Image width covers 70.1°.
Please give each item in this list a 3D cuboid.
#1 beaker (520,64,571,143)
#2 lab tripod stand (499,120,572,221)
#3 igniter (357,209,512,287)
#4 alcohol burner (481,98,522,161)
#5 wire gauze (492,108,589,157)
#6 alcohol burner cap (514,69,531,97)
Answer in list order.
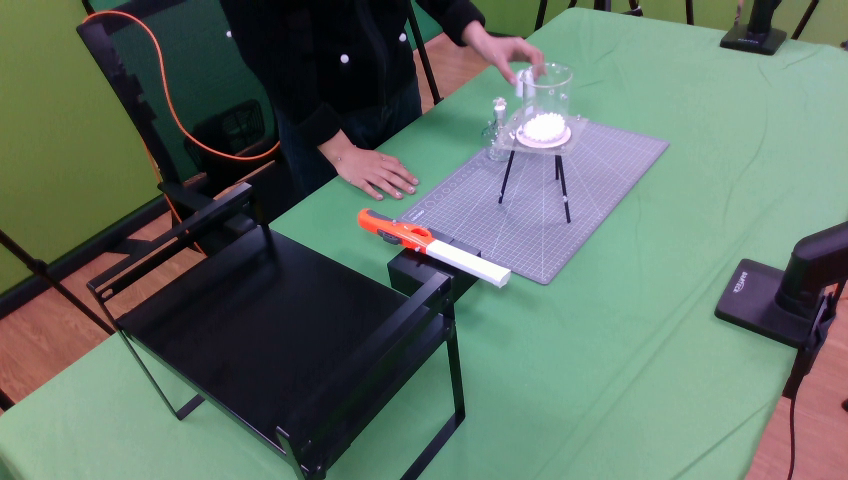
[{"bbox_3d":[0.187,-0.208,0.924,0.073,0.101,0.084,23,49,30],"label":"beaker"},{"bbox_3d":[0.198,-0.117,0.992,0.148,0.132,0.147,-3,40,3],"label":"lab tripod stand"},{"bbox_3d":[0.004,0.006,0.891,0.274,0.025,0.057,23,38,30],"label":"igniter"},{"bbox_3d":[0.143,-0.208,1.124,0.078,0.119,0.077,-6,39,5],"label":"alcohol burner"},{"bbox_3d":[0.185,-0.169,0.954,0.121,0.011,0.125,12,46,22],"label":"wire gauze"},{"bbox_3d":[0.182,-0.294,1.127,0.034,0.048,0.033,-6,27,3],"label":"alcohol burner cap"}]
